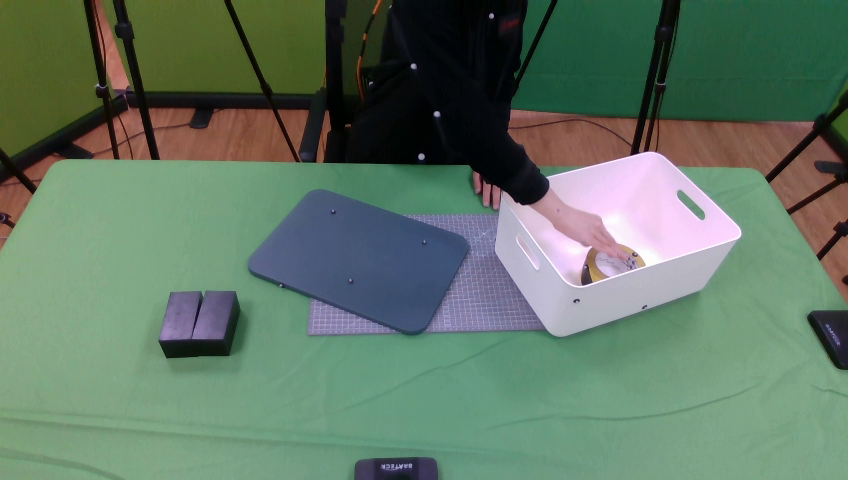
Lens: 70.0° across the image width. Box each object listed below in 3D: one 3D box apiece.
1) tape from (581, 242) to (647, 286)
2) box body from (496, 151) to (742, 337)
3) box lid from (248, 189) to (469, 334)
[{"bbox_3d":[0.355,0.060,1.132,0.117,0.053,0.116,2,47,-2],"label":"tape"},{"bbox_3d":[0.340,0.003,1.118,0.364,0.161,0.252,-15,49,-18],"label":"box body"},{"bbox_3d":[-0.123,0.028,1.168,0.371,0.015,0.262,19,47,14],"label":"box lid"}]
